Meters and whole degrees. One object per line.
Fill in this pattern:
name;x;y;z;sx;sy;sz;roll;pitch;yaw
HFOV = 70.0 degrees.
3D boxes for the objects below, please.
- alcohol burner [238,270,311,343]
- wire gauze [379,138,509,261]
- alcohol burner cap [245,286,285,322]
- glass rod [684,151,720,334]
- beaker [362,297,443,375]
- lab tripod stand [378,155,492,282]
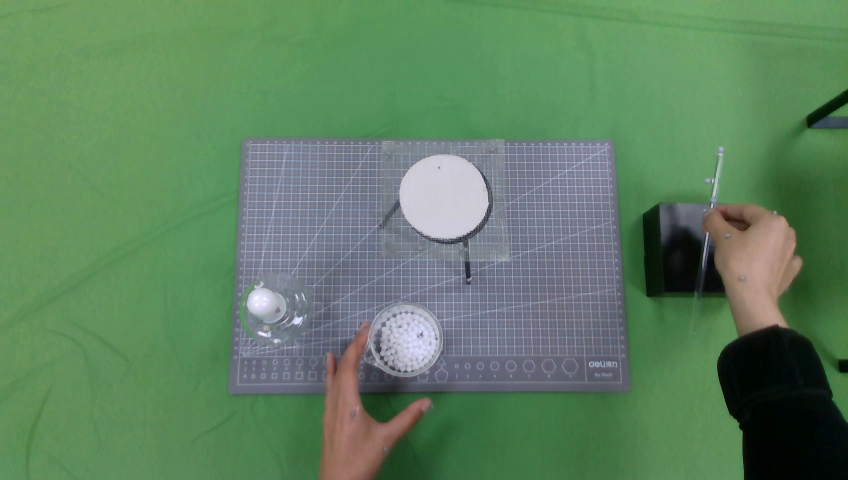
alcohol burner;-0.159;0.068;0.635;0.078;0.119;0.077;0;80;-3
wire gauze;0.019;-0.041;0.584;0.125;0.011;0.121;1;79;-2
alcohol burner cap;-0.159;0.062;0.600;0.034;0.048;0.033;0;74;1
glass rod;0.296;0.006;0.647;0.008;0.008;0.200;4;102;-1
beaker;-0.023;0.106;0.640;0.084;0.100;0.073;-27;80;-7
lab tripod stand;0.021;-0.032;0.650;0.148;0.132;0.147;0;77;-1
